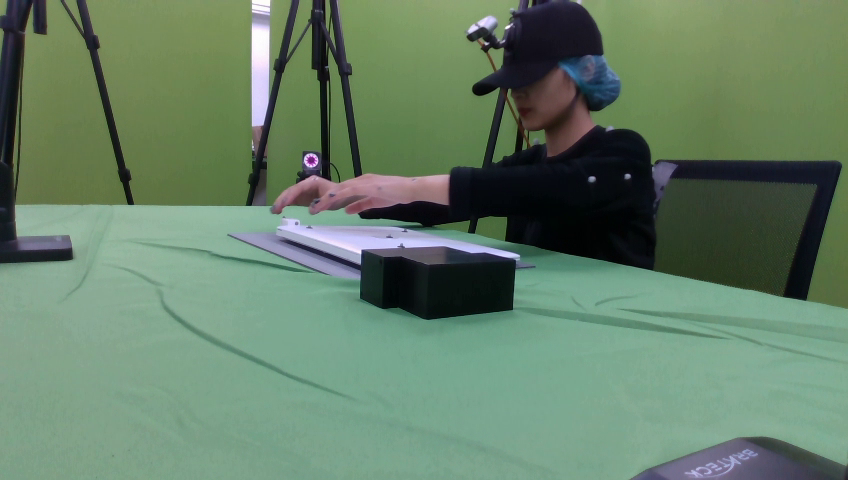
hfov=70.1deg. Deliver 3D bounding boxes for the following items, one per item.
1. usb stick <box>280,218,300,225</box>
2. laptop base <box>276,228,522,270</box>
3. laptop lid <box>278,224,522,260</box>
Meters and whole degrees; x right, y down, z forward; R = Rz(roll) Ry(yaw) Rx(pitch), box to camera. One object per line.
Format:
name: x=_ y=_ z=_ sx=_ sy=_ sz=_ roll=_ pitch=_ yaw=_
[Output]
usb stick: x=-0.225 y=-0.023 z=1.024 sx=0.021 sy=0.027 sz=0.059 roll=-2 pitch=10 yaw=-31
laptop base: x=-0.054 y=0.010 z=0.909 sx=0.237 sy=0.023 sz=0.352 roll=1 pitch=6 yaw=-33
laptop lid: x=-0.052 y=-0.001 z=0.909 sx=0.243 sy=0.013 sz=0.355 roll=0 pitch=7 yaw=-32
